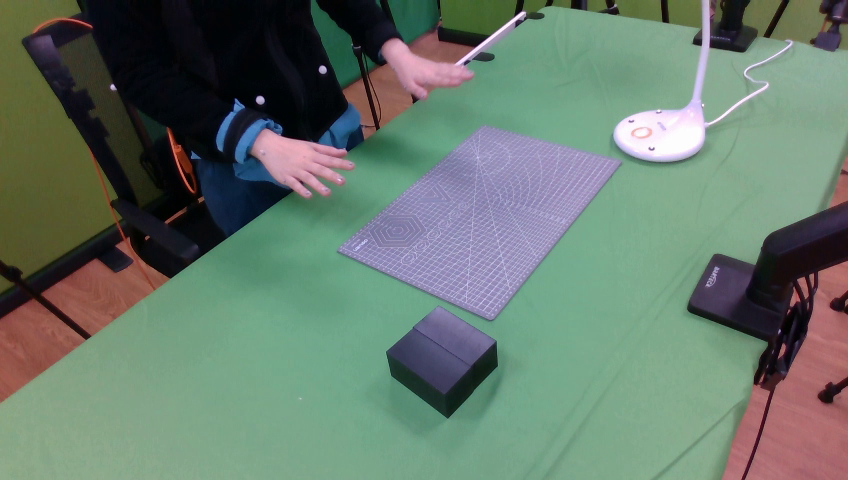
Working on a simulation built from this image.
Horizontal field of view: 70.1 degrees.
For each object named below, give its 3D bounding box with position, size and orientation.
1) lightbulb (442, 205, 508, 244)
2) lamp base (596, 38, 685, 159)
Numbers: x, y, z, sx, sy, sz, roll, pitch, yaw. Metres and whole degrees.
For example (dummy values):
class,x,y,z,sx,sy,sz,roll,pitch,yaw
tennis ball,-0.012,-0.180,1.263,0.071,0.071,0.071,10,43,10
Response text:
class,x,y,z,sx,sy,sz,roll,pitch,yaw
lightbulb,0.080,-0.019,0.955,0.107,0.059,0.059,18,44,5
lamp base,0.408,-0.264,1.094,0.180,0.181,0.159,-29,45,-27
